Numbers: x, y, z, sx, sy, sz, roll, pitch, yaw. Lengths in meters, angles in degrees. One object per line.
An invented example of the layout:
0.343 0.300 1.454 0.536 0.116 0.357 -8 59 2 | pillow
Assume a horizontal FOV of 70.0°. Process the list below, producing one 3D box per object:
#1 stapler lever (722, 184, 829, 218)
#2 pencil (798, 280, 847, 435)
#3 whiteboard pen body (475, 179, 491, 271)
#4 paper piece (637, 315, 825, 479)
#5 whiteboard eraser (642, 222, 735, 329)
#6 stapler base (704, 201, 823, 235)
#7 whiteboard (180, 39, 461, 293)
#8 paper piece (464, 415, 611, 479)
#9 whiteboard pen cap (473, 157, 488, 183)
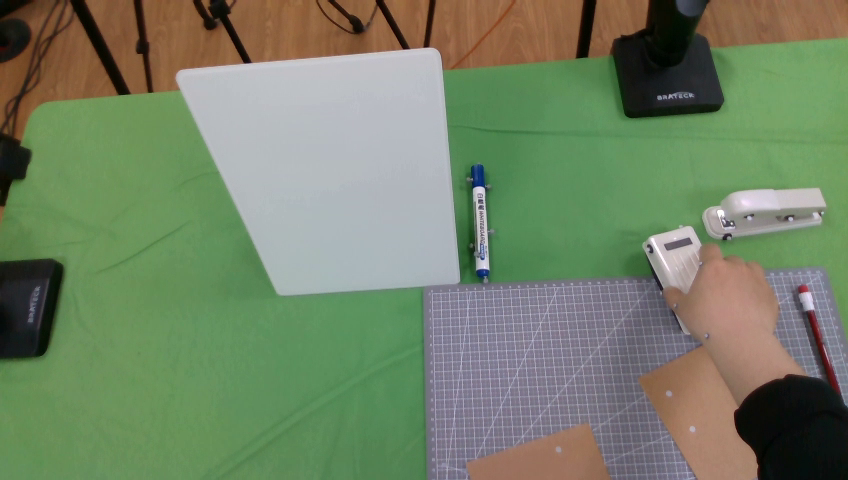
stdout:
0.392 -0.045 0.672 0.118 0.040 0.026 -8 70 1 | stapler lever
0.421 0.134 0.627 0.012 0.012 0.192 -7 69 2 | pencil
0.069 -0.030 0.722 0.017 0.017 0.139 -2 68 4 | whiteboard pen body
0.314 0.167 0.625 0.136 0.009 0.137 -25 70 -1 | paper piece
0.286 0.038 0.661 0.055 0.042 0.112 -15 68 -4 | whiteboard eraser
0.392 -0.035 0.694 0.130 0.024 0.041 -8 70 0 | stapler base
-0.076 -0.097 0.639 0.217 0.308 0.142 -3 48 4 | whiteboard
0.124 0.259 0.602 0.135 0.004 0.134 -17 68 -2 | paper piece
0.070 -0.084 0.743 0.018 0.018 0.033 -4 66 3 | whiteboard pen cap
